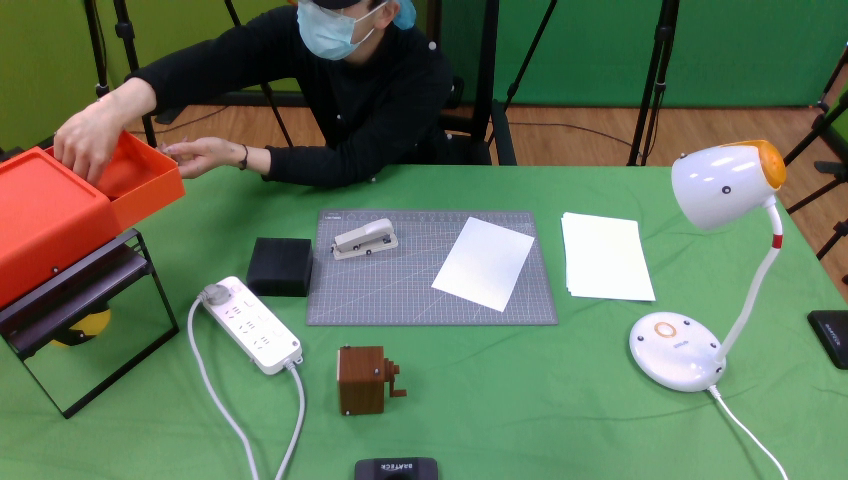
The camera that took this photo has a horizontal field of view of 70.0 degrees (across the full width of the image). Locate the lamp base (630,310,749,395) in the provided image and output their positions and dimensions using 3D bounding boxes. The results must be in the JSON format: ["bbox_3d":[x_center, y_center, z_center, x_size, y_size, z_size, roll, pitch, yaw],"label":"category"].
[{"bbox_3d":[0.447,0.143,0.984,0.161,0.181,0.178,-24,55,-24],"label":"lamp base"}]

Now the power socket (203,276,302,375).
[{"bbox_3d":[-0.297,0.141,1.034,0.072,0.033,0.225,-34,58,-30],"label":"power socket"}]

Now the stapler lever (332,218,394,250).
[{"bbox_3d":[-0.116,-0.012,1.162,0.118,0.040,0.026,-13,47,-14],"label":"stapler lever"}]

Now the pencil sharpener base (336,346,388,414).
[{"bbox_3d":[-0.093,0.215,0.927,0.077,0.107,0.061,-1,46,-6],"label":"pencil sharpener base"}]

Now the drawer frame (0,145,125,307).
[{"bbox_3d":[-0.597,-0.024,0.887,0.201,0.083,0.213,30,52,22],"label":"drawer frame"}]

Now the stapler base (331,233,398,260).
[{"bbox_3d":[-0.116,0.004,1.181,0.131,0.024,0.041,-13,47,-14],"label":"stapler base"}]

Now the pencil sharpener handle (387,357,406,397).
[{"bbox_3d":[-0.041,0.209,0.919,0.031,0.068,0.036,-1,25,-6],"label":"pencil sharpener handle"}]

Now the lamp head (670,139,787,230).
[{"bbox_3d":[0.415,-0.078,0.812,0.113,0.123,0.112,12,70,-37],"label":"lamp head"}]

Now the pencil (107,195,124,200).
[{"bbox_3d":[-0.511,-0.069,0.970,0.194,0.012,0.012,2,46,6],"label":"pencil"}]

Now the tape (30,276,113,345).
[{"bbox_3d":[-0.594,0.118,1.022,0.117,0.053,0.116,3,45,-2],"label":"tape"}]

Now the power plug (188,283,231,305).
[{"bbox_3d":[-0.368,0.099,1.037,0.072,0.053,0.035,-23,52,-25],"label":"power plug"}]

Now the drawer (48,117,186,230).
[{"bbox_3d":[-0.525,-0.087,0.956,0.193,0.073,0.211,31,53,23],"label":"drawer"}]
